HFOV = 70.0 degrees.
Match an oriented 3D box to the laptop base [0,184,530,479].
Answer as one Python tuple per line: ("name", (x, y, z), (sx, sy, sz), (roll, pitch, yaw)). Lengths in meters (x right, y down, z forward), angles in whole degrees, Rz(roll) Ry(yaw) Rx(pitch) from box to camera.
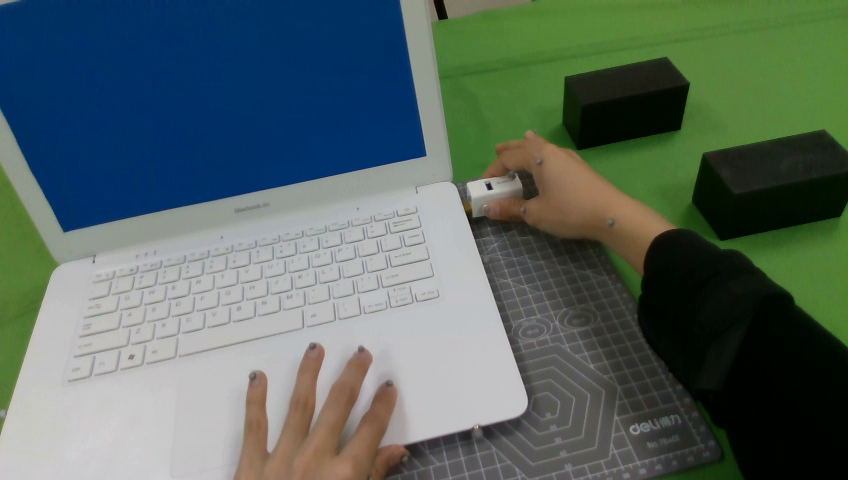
("laptop base", (-0.122, 0.071, 0.455), (0.354, 0.023, 0.233), (-12, 48, -3))

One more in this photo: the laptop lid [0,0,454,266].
("laptop lid", (-0.163, -0.109, 0.478), (0.357, 0.244, 0.013), (-14, 30, -2))

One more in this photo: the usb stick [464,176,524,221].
("usb stick", (0.054, -0.034, 0.513), (0.059, 0.027, 0.021), (-14, 44, -1))
